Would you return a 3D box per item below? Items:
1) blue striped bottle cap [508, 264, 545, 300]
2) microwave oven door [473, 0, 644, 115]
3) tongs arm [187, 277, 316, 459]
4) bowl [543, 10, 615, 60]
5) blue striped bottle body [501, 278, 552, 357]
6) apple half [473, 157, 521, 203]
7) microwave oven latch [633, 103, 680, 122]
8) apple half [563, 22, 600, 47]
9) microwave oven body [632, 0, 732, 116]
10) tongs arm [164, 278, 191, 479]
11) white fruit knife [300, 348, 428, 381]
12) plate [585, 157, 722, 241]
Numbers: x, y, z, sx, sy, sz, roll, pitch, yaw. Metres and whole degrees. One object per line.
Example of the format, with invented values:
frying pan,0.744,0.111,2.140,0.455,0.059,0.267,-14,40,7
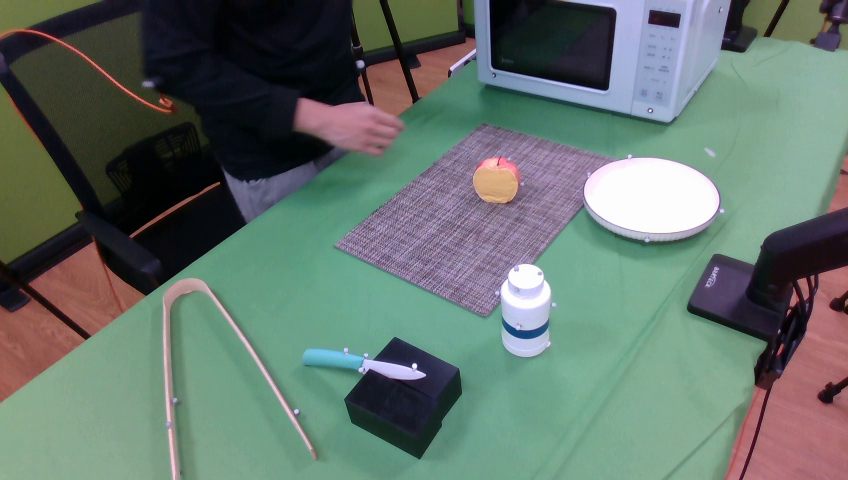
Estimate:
blue striped bottle cap,0.125,0.050,0.735,0.044,0.021,0.044,-5,39,5
microwave oven door,0.257,-0.396,1.199,0.353,0.245,0.039,21,48,29
tongs arm,-0.241,0.154,0.815,0.028,0.028,0.384,-31,46,-21
bowl,0.335,-0.439,1.306,0.151,0.077,0.151,-8,30,5
blue striped bottle body,0.130,0.088,0.769,0.063,0.121,0.063,-4,41,4
apple half,0.127,-0.106,1.030,0.080,0.075,0.053,4,36,19
microwave oven latch,0.444,-0.249,1.157,0.078,0.029,0.030,21,48,30
apple half,0.334,-0.446,1.299,0.081,0.033,0.081,-15,38,13
microwave oven body,0.377,-0.462,1.267,0.438,0.261,0.327,21,48,30
tongs arm,-0.313,0.182,0.789,0.051,0.026,0.381,-19,41,-14
white fruit knife,-0.079,0.154,0.748,0.206,0.027,0.016,1,20,34
plate,0.367,-0.063,0.979,0.207,0.039,0.206,-4,40,4
